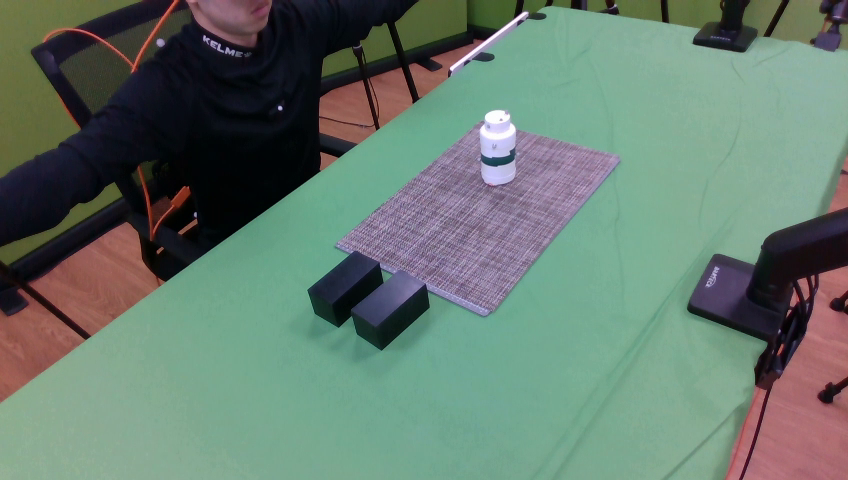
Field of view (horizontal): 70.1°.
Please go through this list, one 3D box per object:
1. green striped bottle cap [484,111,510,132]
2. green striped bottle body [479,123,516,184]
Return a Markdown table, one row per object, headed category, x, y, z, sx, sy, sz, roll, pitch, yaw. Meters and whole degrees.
| category | x | y | z | sx | sy | sz | roll | pitch | yaw |
| --- | --- | --- | --- | --- | --- | --- | --- | --- | --- |
| green striped bottle cap | 0.123 | -0.201 | 1.024 | 0.044 | 0.020 | 0.044 | -3 | 39 | 3 |
| green striped bottle body | 0.129 | -0.162 | 1.058 | 0.063 | 0.120 | 0.063 | -4 | 41 | 4 |
